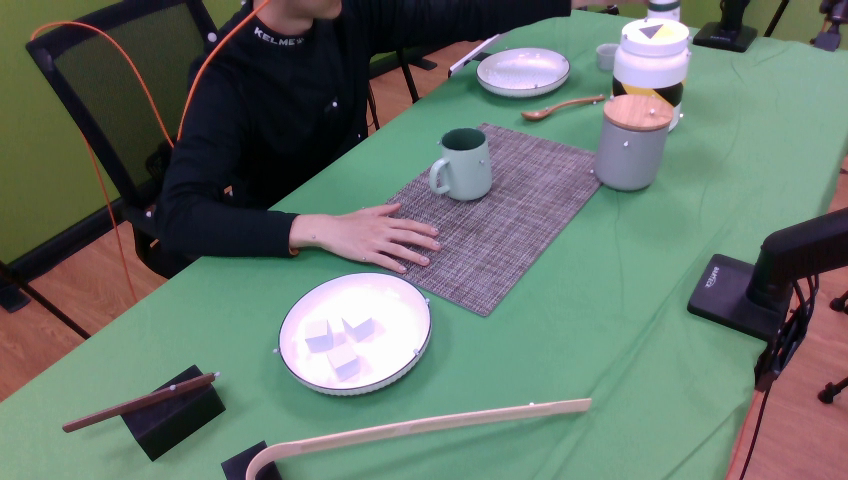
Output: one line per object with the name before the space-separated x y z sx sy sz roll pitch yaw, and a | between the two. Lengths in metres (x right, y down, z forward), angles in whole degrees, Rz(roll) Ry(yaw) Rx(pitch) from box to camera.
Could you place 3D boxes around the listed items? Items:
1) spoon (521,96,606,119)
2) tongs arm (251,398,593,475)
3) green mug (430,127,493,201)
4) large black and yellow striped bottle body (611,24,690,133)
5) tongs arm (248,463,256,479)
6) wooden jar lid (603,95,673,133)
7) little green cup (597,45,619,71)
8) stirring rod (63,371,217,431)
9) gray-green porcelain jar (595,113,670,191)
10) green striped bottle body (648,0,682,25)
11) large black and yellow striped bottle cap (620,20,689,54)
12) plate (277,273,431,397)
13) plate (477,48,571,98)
spoon | 0.291 -0.277 1.249 0.194 0.022 0.041 -18 24 -12
tongs arm | 0.008 0.212 0.675 0.389 0.028 0.028 -5 46 -11
green mug | 0.059 -0.121 1.034 0.126 0.105 0.091 -35 48 -28
large black and yellow striped bottle body | 0.420 -0.299 1.132 0.131 0.185 0.130 -4 41 4
tongs arm | 0.012 0.262 0.615 0.385 0.026 0.050 2 41 -2
wooden jar lid | 0.343 -0.200 0.974 0.108 0.021 0.108 -2 39 2
little green cup | 0.423 -0.413 1.375 0.061 0.039 0.061 -4 41 4
stirring rod | -0.337 0.192 0.723 0.177 0.014 0.005 -18 43 -12
gray-green porcelain jar | 0.346 -0.155 1.017 0.106 0.127 0.105 -2 44 2
green striped bottle body | 0.480 -0.481 1.200 0.063 0.120 0.063 -7 40 7
large black and yellow striped bottle cap | 0.411 -0.363 1.079 0.115 0.019 0.114 -4 42 4
plate | -0.092 0.129 0.821 0.207 0.039 0.206 -4 40 4
plate | 0.222 -0.371 1.357 0.209 0.038 0.208 -4 41 4
